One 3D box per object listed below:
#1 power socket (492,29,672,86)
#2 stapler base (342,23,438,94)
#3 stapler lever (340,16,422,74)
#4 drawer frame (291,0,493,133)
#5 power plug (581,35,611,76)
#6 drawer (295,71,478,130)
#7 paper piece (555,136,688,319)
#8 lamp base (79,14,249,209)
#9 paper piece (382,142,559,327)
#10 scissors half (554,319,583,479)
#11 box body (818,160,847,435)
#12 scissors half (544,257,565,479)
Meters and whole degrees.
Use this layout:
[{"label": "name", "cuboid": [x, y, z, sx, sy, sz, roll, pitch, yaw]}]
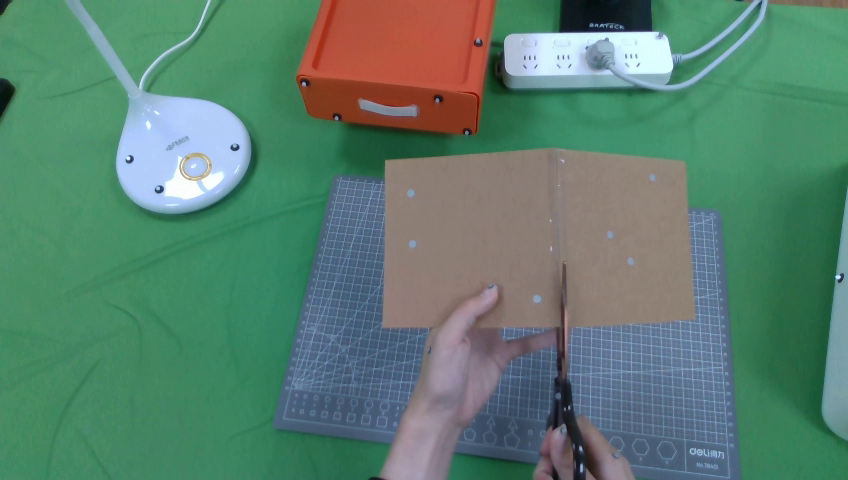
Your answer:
[{"label": "power socket", "cuboid": [0.201, -0.233, 0.774, 0.227, 0.033, 0.071, 1, 65, 2]}, {"label": "stapler base", "cuboid": [-0.044, -0.221, 0.721, 0.129, 0.024, 0.041, 35, 87, 20]}, {"label": "stapler lever", "cuboid": [-0.052, -0.227, 0.697, 0.117, 0.040, 0.027, 35, 86, 21]}, {"label": "drawer frame", "cuboid": [-0.027, -0.241, 0.710, 0.201, 0.083, 0.212, 7, 64, 6]}, {"label": "power plug", "cuboid": [0.209, -0.217, 0.741, 0.035, 0.053, 0.072, 10, 65, 7]}, {"label": "drawer", "cuboid": [-0.026, -0.239, 0.709, 0.194, 0.074, 0.210, 7, 64, 6]}, {"label": "paper piece", "cuboid": [0.158, -0.006, 0.475, 0.136, 0.004, 0.135, 3, 85, -26]}, {"label": "lamp base", "cuboid": [-0.306, -0.149, 0.670, 0.178, 0.182, 0.160, 37, 70, 21]}, {"label": "paper piece", "cuboid": [0.033, -0.003, 0.463, 0.135, 0.009, 0.138, -2, 84, 14]}, {"label": "scissors half", "cuboid": [0.100, 0.097, 0.430, 0.013, 0.040, 0.174, 2, 68, -3]}, {"label": "box body", "cuboid": [0.542, 0.038, 0.559, 0.253, 0.161, 0.362, 19, 66, 11]}, {"label": "scissors half", "cuboid": [0.100, 0.099, 0.453, 0.013, 0.040, 0.175, 2, 100, 2]}]
